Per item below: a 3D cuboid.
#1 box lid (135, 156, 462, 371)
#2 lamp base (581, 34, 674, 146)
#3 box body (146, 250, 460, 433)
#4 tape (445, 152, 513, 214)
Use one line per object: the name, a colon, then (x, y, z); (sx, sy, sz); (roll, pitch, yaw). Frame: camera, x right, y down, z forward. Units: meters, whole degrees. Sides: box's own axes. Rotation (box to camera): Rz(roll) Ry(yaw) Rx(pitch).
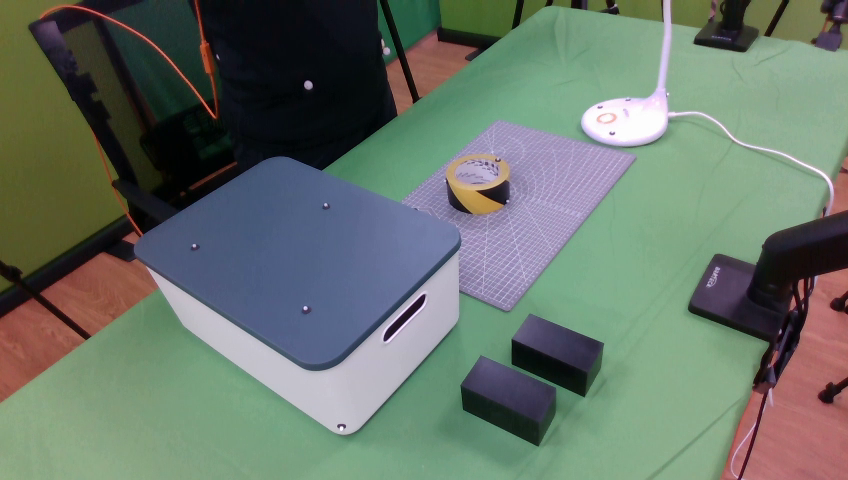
box lid: (-0.162, 0.004, 0.765); (0.368, 0.015, 0.264); (23, 49, 31)
lamp base: (0.392, -0.291, 1.129); (0.180, 0.181, 0.159); (-11, 41, -8)
box body: (-0.156, 0.059, 0.814); (0.361, 0.161, 0.255); (24, 49, 31)
tape: (0.095, -0.099, 1.042); (0.117, 0.053, 0.116); (-4, 41, 4)
